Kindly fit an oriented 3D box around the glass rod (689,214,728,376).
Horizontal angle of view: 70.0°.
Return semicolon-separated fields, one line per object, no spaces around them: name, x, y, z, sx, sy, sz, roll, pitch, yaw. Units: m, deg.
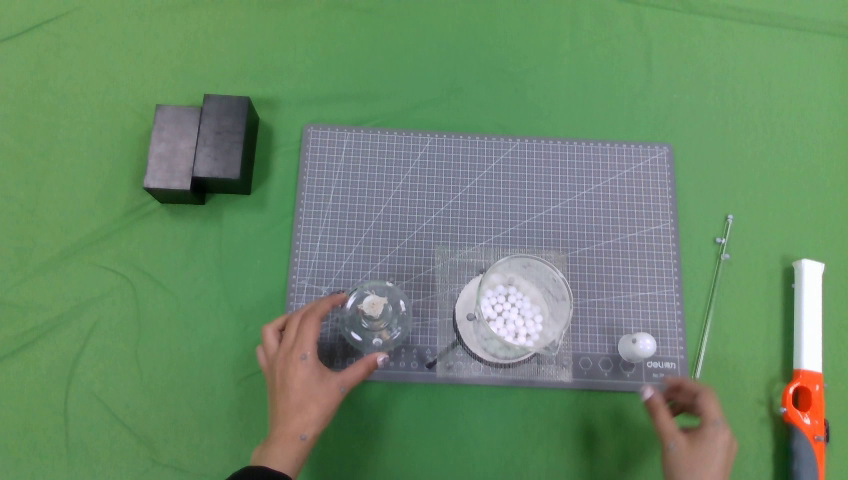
glass rod;0.329;0.060;0.700;0.008;0.008;0.199;19;76;2

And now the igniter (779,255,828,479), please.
igniter;0.420;0.151;0.670;0.057;0.025;0.275;13;75;-10

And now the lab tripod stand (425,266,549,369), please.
lab tripod stand;0.066;0.083;0.612;0.148;0.132;0.147;0;74;-1

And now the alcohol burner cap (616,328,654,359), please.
alcohol burner cap;0.232;0.112;0.660;0.034;0.048;0.033;0;76;0

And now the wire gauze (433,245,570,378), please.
wire gauze;0.069;0.063;0.550;0.125;0.011;0.121;2;73;0

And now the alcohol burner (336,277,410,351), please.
alcohol burner;-0.052;0.072;0.619;0.078;0.119;0.077;1;73;-2

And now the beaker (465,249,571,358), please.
beaker;0.074;0.060;0.501;0.074;0.101;0.083;-29;77;-10
